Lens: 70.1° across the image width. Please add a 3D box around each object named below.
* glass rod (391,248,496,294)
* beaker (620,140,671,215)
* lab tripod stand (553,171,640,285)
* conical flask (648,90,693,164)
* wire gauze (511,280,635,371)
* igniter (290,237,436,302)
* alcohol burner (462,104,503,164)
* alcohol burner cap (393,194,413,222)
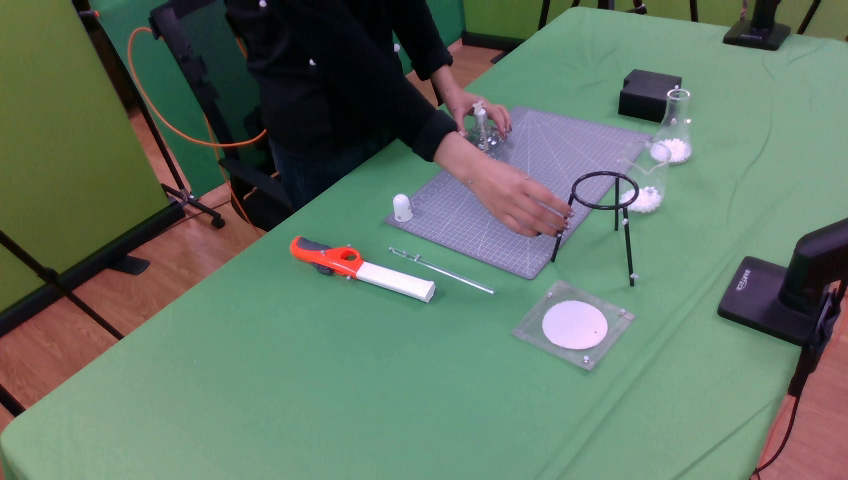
[{"bbox_3d":[0.026,0.045,0.936,0.198,0.008,0.008,22,50,31],"label":"glass rod"},{"bbox_3d":[0.352,-0.096,0.971,0.074,0.101,0.084,1,42,13],"label":"beaker"},{"bbox_3d":[0.260,-0.025,0.877,0.148,0.132,0.147,-6,38,5],"label":"lab tripod stand"},{"bbox_3d":[0.437,-0.199,1.057,0.075,0.122,0.075,-5,40,5],"label":"conical flask"},{"bbox_3d":[0.203,0.114,0.822,0.120,0.011,0.125,25,52,35],"label":"wire gauze"},{"bbox_3d":[-0.106,0.043,0.949,0.274,0.025,0.057,16,57,27],"label":"igniter"},{"bbox_3d":[0.109,-0.202,1.126,0.078,0.119,0.077,-5,43,5],"label":"alcohol burner"},{"bbox_3d":[-0.038,-0.057,1.038,0.034,0.048,0.033,-5,41,5],"label":"alcohol burner cap"}]
